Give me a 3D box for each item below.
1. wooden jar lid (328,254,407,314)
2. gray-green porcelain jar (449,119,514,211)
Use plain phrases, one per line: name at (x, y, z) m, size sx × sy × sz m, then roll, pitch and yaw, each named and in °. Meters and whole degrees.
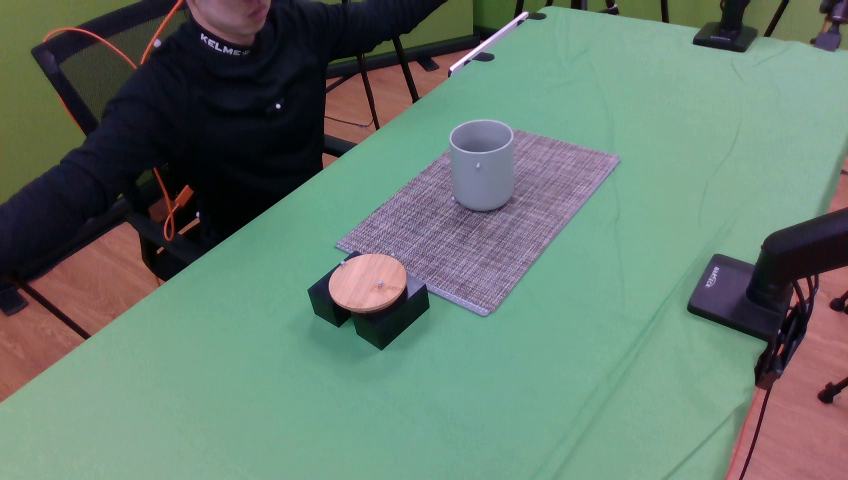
wooden jar lid at (-0.077, 0.062, 0.832) m, size 0.108 × 0.021 × 0.108 m, roll -4°, pitch 39°, yaw 4°
gray-green porcelain jar at (0.098, -0.120, 1.008) m, size 0.106 × 0.127 × 0.105 m, roll -4°, pitch 41°, yaw 4°
